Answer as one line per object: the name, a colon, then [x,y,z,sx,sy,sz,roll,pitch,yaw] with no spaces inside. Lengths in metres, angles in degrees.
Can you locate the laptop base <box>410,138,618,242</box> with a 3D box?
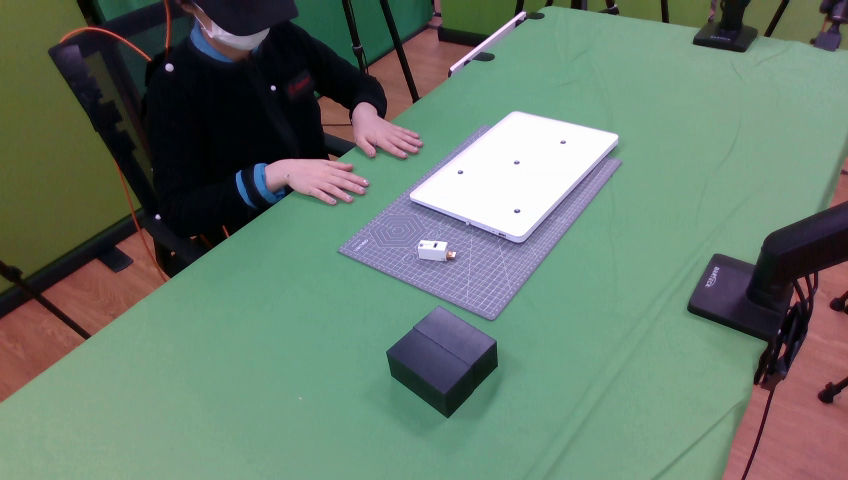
laptop base: [0.170,-0.127,1.096,0.233,0.023,0.355,21,47,33]

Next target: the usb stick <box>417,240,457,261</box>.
usb stick: [0.021,0.017,0.938,0.059,0.027,0.021,8,42,13]

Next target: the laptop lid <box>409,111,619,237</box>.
laptop lid: [0.167,-0.137,1.089,0.239,0.013,0.358,24,48,34]
